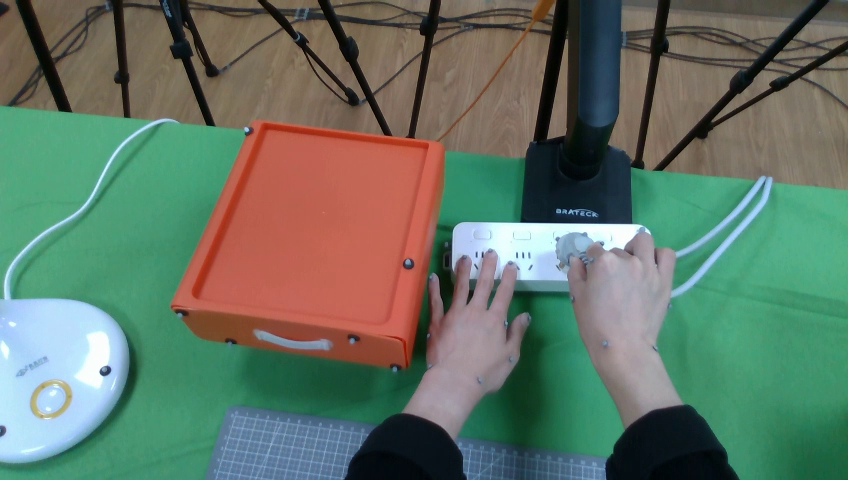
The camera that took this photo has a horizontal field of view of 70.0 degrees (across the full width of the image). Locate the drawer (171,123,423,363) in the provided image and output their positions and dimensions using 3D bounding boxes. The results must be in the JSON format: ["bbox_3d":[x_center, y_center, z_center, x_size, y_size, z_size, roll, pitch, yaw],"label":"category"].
[{"bbox_3d":[-0.098,-0.003,0.570,0.194,0.074,0.210,7,59,6],"label":"drawer"}]

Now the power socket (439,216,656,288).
[{"bbox_3d":[0.129,0.012,0.636,0.227,0.033,0.071,1,60,2],"label":"power socket"}]

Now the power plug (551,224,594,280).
[{"bbox_3d":[0.140,0.016,0.584,0.035,0.053,0.072,14,53,0],"label":"power plug"}]

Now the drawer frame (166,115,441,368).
[{"bbox_3d":[-0.099,-0.005,0.571,0.201,0.083,0.212,7,59,6],"label":"drawer frame"}]

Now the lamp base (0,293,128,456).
[{"bbox_3d":[-0.379,0.078,0.520,0.178,0.182,0.160,36,66,24],"label":"lamp base"}]

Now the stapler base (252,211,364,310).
[{"bbox_3d":[-0.116,0.016,0.580,0.129,0.024,0.041,35,82,22],"label":"stapler base"}]

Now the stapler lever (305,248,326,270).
[{"bbox_3d":[-0.124,0.007,0.556,0.117,0.040,0.027,35,82,24],"label":"stapler lever"}]
